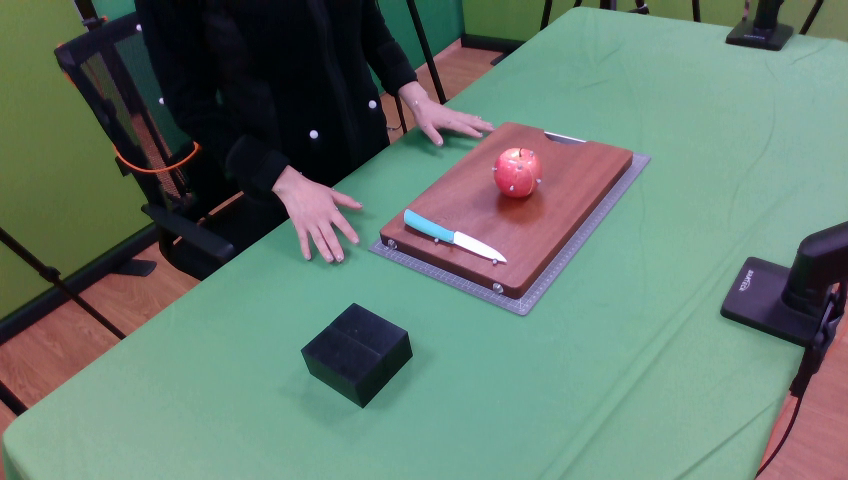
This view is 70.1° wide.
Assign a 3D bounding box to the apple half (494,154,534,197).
[{"bbox_3d":[0.140,-0.098,0.989,0.080,0.081,0.033,27,50,35],"label":"apple half"}]

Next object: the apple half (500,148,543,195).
[{"bbox_3d":[0.166,-0.118,1.010,0.080,0.075,0.053,23,46,38],"label":"apple half"}]

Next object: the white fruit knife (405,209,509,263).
[{"bbox_3d":[0.046,-0.005,0.944,0.205,0.016,0.027,24,64,32],"label":"white fruit knife"}]
